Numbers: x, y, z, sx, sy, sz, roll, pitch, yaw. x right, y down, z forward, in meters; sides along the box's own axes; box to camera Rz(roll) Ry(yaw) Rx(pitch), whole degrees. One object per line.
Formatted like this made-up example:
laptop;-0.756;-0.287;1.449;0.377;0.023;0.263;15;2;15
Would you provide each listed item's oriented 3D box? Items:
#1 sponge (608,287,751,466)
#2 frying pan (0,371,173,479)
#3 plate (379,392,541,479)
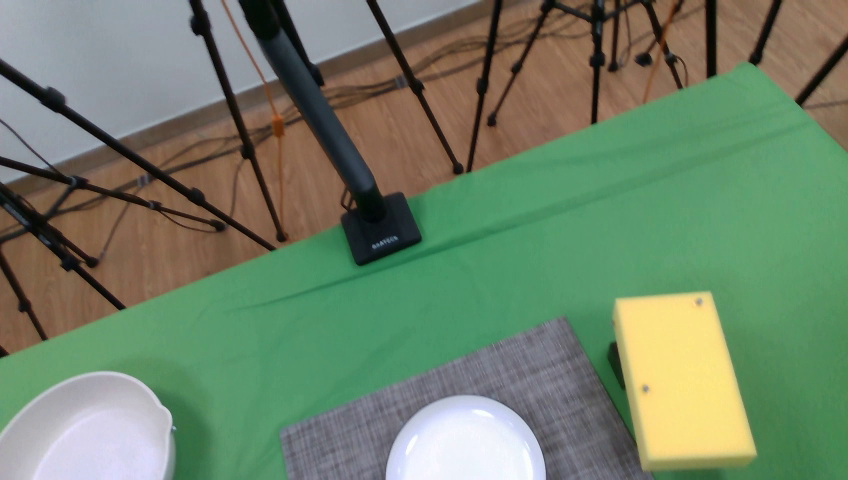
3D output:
sponge;0.306;0.166;0.749;0.118;0.061;0.205;-7;57;7
frying pan;-0.445;0.399;0.792;0.307;0.104;0.482;-29;49;-6
plate;0.047;0.304;0.785;0.207;0.039;0.205;-5;58;8
